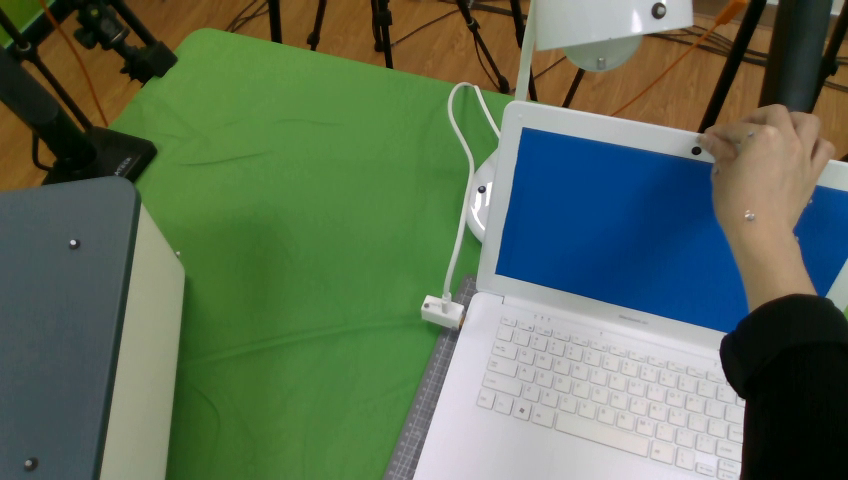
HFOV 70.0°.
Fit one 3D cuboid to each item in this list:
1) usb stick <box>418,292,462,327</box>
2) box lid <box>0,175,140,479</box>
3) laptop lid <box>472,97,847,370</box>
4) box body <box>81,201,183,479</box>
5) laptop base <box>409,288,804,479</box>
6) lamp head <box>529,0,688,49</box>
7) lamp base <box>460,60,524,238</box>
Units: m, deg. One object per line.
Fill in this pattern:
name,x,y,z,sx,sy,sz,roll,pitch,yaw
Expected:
usb stick,0.024,0.079,0.672,0.059,0.027,0.021,17,56,11
box lid,-0.397,0.101,0.527,0.263,0.015,0.368,-7,59,-2
laptop lid,0.230,0.000,0.596,0.355,0.243,0.013,12,35,12
box body,-0.393,0.143,0.589,0.254,0.162,0.360,-8,58,-2
laptop base,0.185,0.192,0.607,0.353,0.023,0.234,14,63,12
lamp head,0.125,-0.204,0.432,0.112,0.112,0.123,-11,102,-3
lamp base,0.116,-0.100,0.698,0.161,0.182,0.177,-18,56,-8
